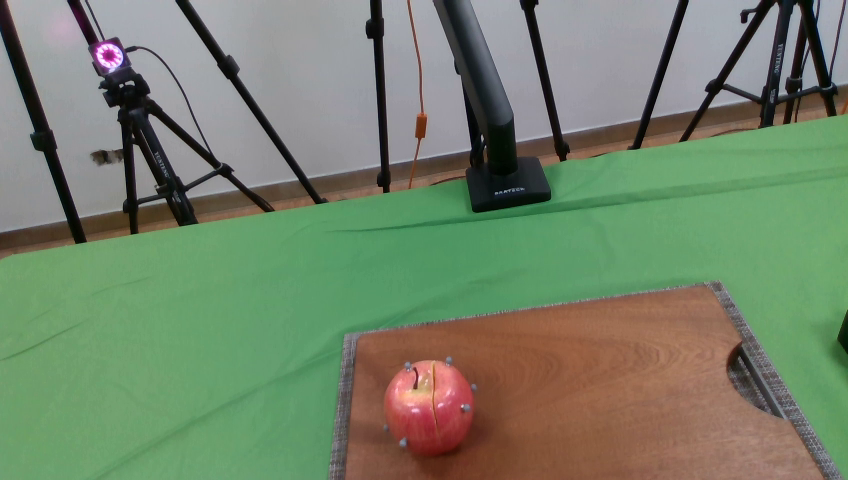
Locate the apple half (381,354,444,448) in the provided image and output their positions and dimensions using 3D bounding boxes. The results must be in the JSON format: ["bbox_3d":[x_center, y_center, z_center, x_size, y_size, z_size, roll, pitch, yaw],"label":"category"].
[{"bbox_3d":[-0.011,0.151,0.559,0.053,0.075,0.080,-11,41,8],"label":"apple half"}]

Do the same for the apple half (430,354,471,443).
[{"bbox_3d":[0.028,0.145,0.555,0.033,0.082,0.080,-10,38,8],"label":"apple half"}]
